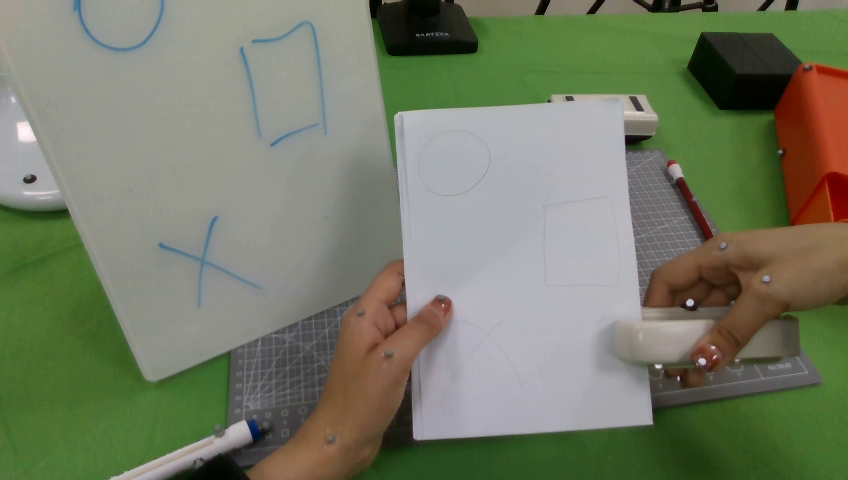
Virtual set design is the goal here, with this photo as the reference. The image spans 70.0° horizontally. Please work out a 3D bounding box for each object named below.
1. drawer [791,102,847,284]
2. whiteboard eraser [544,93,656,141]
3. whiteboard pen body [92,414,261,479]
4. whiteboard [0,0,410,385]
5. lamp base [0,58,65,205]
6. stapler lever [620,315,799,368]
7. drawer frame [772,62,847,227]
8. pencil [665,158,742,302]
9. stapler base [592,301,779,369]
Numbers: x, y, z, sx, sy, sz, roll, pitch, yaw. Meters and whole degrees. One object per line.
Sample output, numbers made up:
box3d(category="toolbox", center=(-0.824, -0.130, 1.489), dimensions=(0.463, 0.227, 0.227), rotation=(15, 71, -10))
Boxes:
box3d(category="drawer", center=(0.463, -0.037, 0.579), dimensions=(0.194, 0.074, 0.210), rotation=(15, 46, 9))
box3d(category="whiteboard eraser", center=(0.194, -0.137, 0.673), dimensions=(0.113, 0.042, 0.055), rotation=(0, 47, -6))
box3d(category="whiteboard pen body", center=(-0.172, 0.143, 0.378), dimensions=(0.141, 0.017, 0.017), rotation=(-19, 51, -25))
box3d(category="whiteboard", center=(-0.154, -0.091, 0.449), dimensions=(0.217, 0.308, 0.142), rotation=(-22, 33, -23))
box3d(category="lamp base", center=(-0.350, -0.148, 0.529), dimensions=(0.178, 0.182, 0.160), rotation=(24, 49, 20))
box3d(category="stapler lever", center=(0.178, 0.061, 0.371), dimensions=(0.118, 0.040, 0.027), rotation=(-1, 91, -4))
box3d(category="drawer frame", center=(0.481, -0.082, 0.622), dimensions=(0.201, 0.083, 0.212), rotation=(14, 46, 9))
box3d(category="pencil", center=(0.267, -0.013, 0.581), dimensions=(0.012, 0.012, 0.192), rotation=(0, 49, -6))
box3d(category="stapler base", center=(0.175, 0.062, 0.391), dimensions=(0.131, 0.024, 0.041), rotation=(-1, 92, -9))
